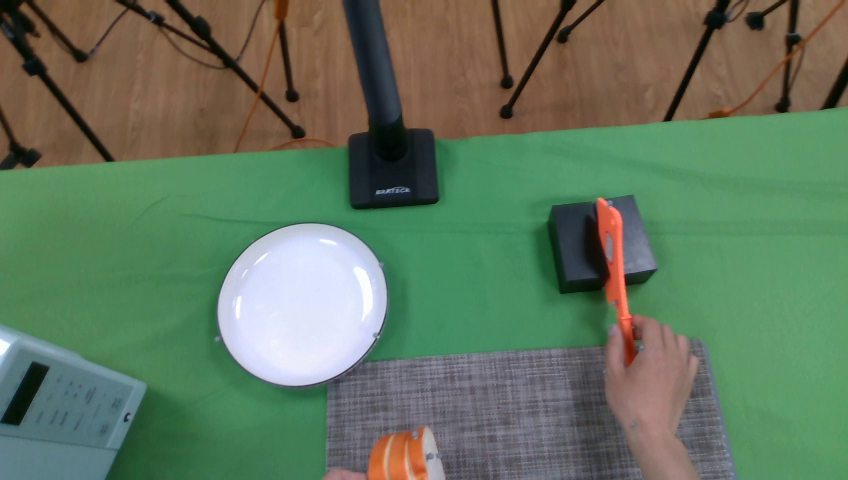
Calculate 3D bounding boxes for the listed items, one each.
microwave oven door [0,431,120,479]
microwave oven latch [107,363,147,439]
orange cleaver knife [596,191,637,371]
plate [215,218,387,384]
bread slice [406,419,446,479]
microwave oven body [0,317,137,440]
[{"bbox_3d":[-0.418,0.340,0.522,0.039,0.245,0.354,15,70,9],"label":"microwave oven door"},{"bbox_3d":[-0.347,0.184,0.690,0.030,0.030,0.079,17,71,8],"label":"microwave oven latch"},{"bbox_3d":[0.225,0.047,0.714,0.012,0.077,0.212,-9,98,-2],"label":"orange cleaver knife"},{"bbox_3d":[-0.147,0.074,0.745,0.207,0.039,0.206,-1,69,2],"label":"plate"},{"bbox_3d":[0.009,0.250,0.608,0.018,0.107,0.134,-15,90,5],"label":"bread slice"},{"bbox_3d":[-0.545,0.267,0.561,0.325,0.262,0.439,15,71,8],"label":"microwave oven body"}]
